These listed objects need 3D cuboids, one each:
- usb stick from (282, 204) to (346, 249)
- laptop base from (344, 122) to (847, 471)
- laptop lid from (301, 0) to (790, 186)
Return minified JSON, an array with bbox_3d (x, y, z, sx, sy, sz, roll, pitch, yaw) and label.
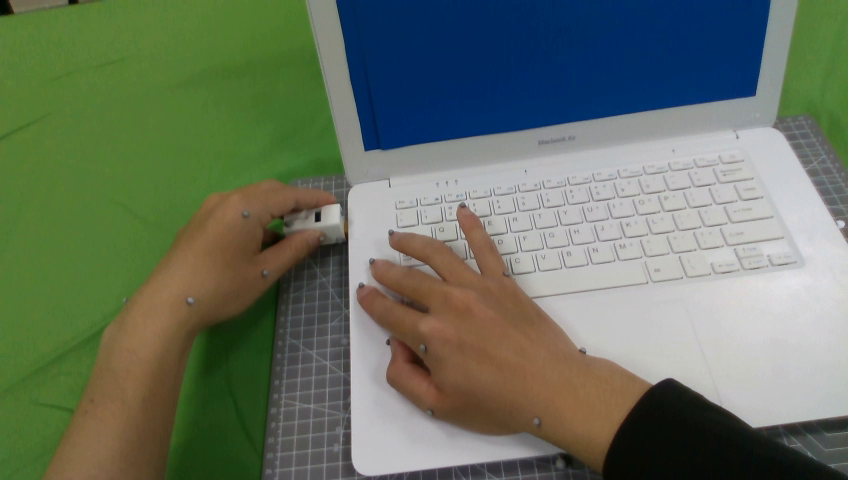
[{"bbox_3d":[-0.079,-0.012,0.476,0.059,0.027,0.021,-8,54,-1],"label":"usb stick"},{"bbox_3d":[0.120,0.026,0.436,0.354,0.023,0.233,-8,57,2],"label":"laptop base"},{"bbox_3d":[0.092,-0.165,0.441,0.357,0.244,0.013,-10,32,2],"label":"laptop lid"}]
